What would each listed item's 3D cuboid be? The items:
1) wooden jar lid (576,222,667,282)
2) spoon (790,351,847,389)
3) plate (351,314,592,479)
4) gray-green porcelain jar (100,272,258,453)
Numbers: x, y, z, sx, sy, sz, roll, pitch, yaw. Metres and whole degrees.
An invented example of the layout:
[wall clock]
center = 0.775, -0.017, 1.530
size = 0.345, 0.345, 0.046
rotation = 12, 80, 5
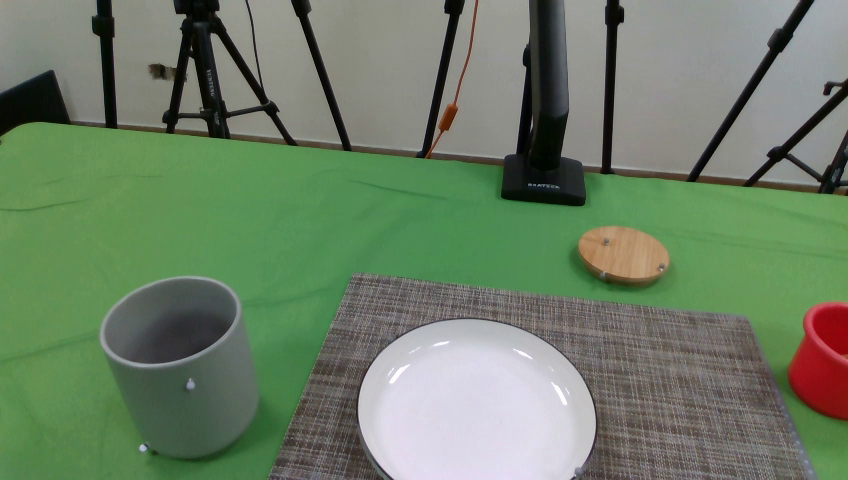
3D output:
[wooden jar lid]
center = 0.242, 0.015, 0.749
size = 0.108, 0.021, 0.107
rotation = 2, 38, -1
[spoon]
center = 0.436, 0.093, 0.548
size = 0.193, 0.022, 0.041
rotation = -33, 23, 31
[plate]
center = 0.040, 0.150, 0.536
size = 0.208, 0.039, 0.205
rotation = 2, 37, -1
[gray-green porcelain jar]
center = -0.200, 0.108, 0.514
size = 0.106, 0.127, 0.105
rotation = 2, 37, -1
